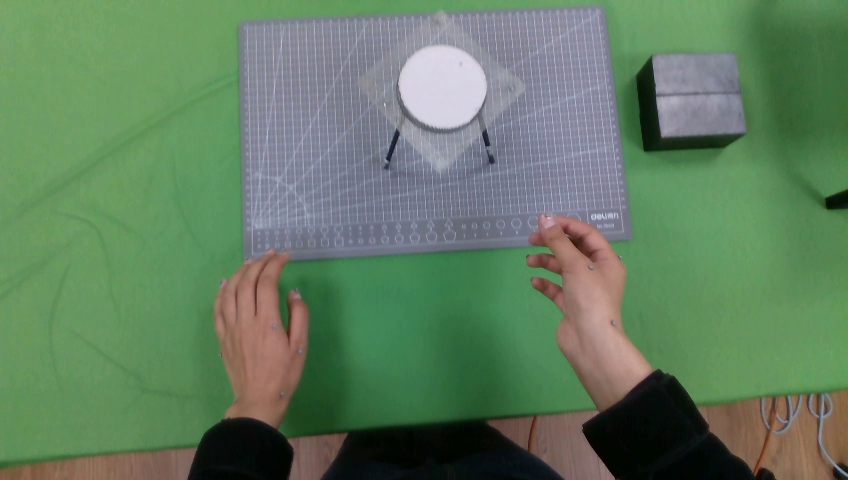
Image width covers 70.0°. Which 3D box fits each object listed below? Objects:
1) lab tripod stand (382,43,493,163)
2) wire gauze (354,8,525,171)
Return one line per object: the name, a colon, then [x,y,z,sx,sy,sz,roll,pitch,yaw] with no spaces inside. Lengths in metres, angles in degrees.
lab tripod stand: [0.018,-0.140,0.656,0.148,0.132,0.148,1,79,-4]
wire gauze: [0.016,-0.151,0.590,0.121,0.011,0.125,-43,85,-8]
